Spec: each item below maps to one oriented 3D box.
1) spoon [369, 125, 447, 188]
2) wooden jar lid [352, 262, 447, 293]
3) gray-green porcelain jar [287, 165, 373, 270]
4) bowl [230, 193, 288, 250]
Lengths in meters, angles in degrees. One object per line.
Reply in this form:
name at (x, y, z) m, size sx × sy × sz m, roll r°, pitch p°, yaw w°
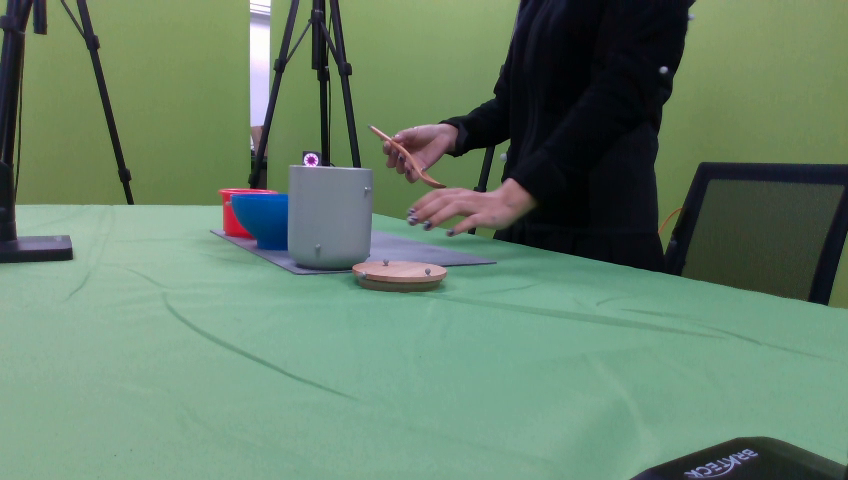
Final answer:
spoon at (-0.031, -0.147, 1.052) m, size 0.193 × 0.021 × 0.042 m, roll 46°, pitch 21°, yaw 24°
wooden jar lid at (-0.028, 0.042, 0.686) m, size 0.108 × 0.020 × 0.108 m, roll 3°, pitch 8°, yaw 0°
gray-green porcelain jar at (-0.119, -0.029, 0.767) m, size 0.106 × 0.126 × 0.106 m, roll 2°, pitch 7°, yaw 0°
bowl at (-0.214, -0.028, 0.912) m, size 0.151 × 0.077 × 0.151 m, roll 2°, pitch 8°, yaw 0°
